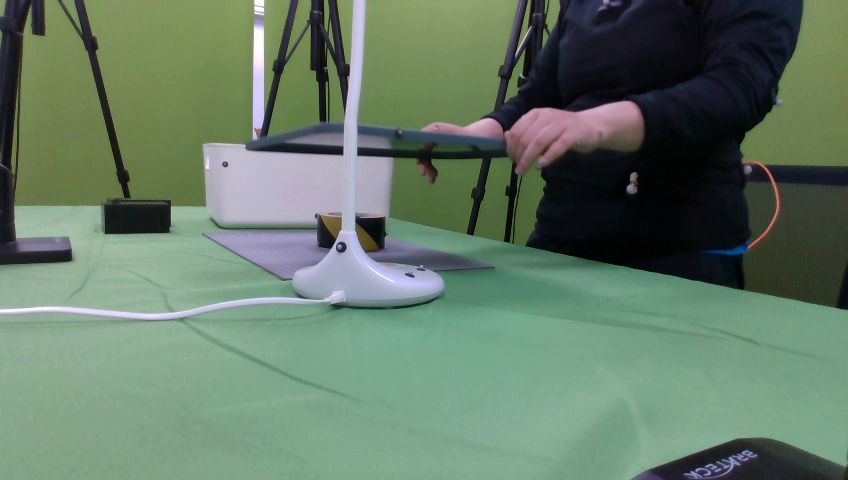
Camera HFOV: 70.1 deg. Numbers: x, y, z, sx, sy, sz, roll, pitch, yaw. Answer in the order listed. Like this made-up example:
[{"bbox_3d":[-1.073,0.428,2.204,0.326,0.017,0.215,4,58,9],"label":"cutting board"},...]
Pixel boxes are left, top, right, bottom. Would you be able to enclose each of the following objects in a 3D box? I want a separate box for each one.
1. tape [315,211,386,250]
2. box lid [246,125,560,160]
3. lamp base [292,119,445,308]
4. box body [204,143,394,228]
[{"bbox_3d":[-0.119,-0.017,0.973,0.117,0.052,0.117,2,6,0],"label":"tape"},{"bbox_3d":[-0.028,-0.124,0.820,0.374,0.015,0.262,-3,4,-36],"label":"box lid"},{"bbox_3d":[-0.056,-0.030,0.616,0.160,0.180,0.179,3,10,8],"label":"lamp base"},{"bbox_3d":[-0.271,-0.117,1.291,0.366,0.160,0.253,-1,8,-25],"label":"box body"}]
